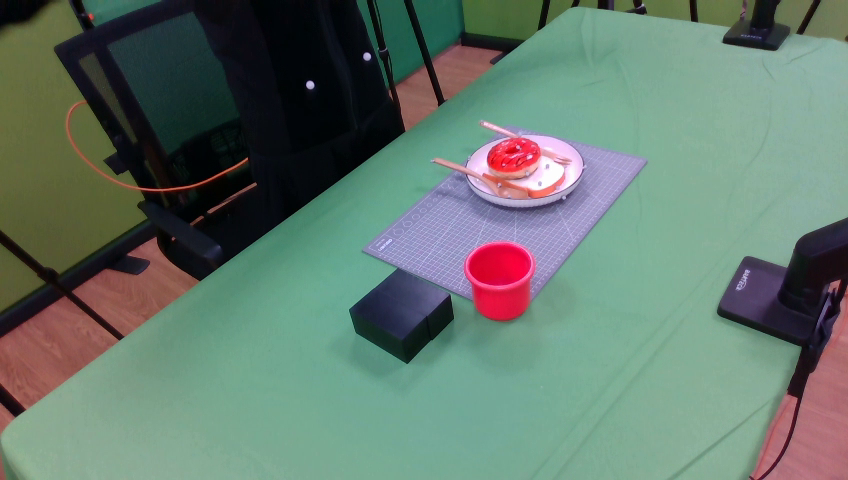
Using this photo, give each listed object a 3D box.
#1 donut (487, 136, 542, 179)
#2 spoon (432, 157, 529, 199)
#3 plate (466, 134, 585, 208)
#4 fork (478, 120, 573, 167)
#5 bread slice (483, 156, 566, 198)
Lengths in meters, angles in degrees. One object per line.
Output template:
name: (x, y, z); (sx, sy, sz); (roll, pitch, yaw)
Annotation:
donut: (0.159, -0.147, 1.068); (0.099, 0.048, 0.098); (-9, 39, 8)
spoon: (0.095, -0.108, 1.055); (0.192, 0.022, 0.042); (30, 49, 21)
plate: (0.178, -0.120, 1.075); (0.209, 0.038, 0.208); (-5, 40, 5)
fork: (0.185, -0.183, 1.130); (0.206, 0.019, 0.028); (33, 69, 24)
bread slice: (0.187, -0.120, 1.077); (0.130, 0.019, 0.105); (27, 53, 37)
